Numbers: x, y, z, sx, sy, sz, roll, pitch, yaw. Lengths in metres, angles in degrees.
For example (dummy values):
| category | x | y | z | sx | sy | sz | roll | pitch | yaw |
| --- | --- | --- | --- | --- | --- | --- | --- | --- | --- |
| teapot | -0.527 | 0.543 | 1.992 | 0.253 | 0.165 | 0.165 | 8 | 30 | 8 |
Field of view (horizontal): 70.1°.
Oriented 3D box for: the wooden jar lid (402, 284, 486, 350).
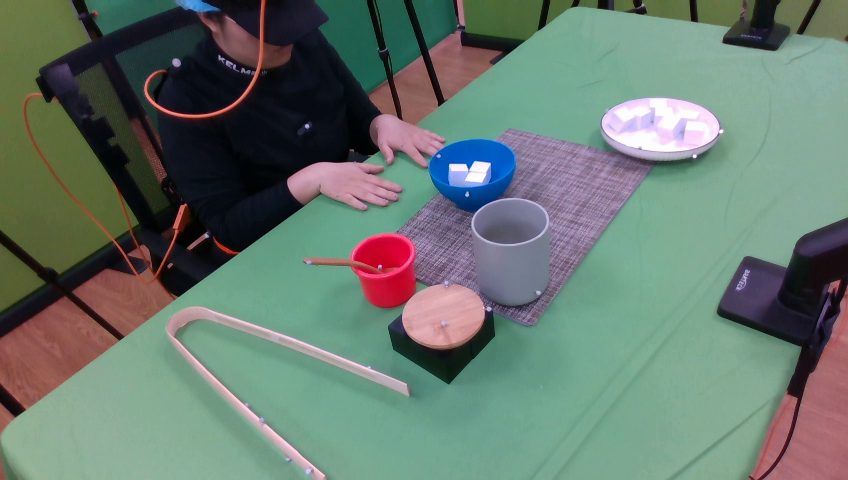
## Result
| category | x | y | z | sx | sy | sz | roll | pitch | yaw |
| --- | --- | --- | --- | --- | --- | --- | --- | --- | --- |
| wooden jar lid | 0.026 | 0.101 | 0.786 | 0.108 | 0.021 | 0.108 | -5 | 39 | 4 |

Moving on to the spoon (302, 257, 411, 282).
| category | x | y | z | sx | sy | sz | roll | pitch | yaw |
| --- | --- | --- | --- | --- | --- | --- | --- | --- | --- |
| spoon | -0.092 | 0.038 | 0.865 | 0.195 | 0.021 | 0.041 | 16 | 15 | -46 |

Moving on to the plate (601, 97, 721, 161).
| category | x | y | z | sx | sy | sz | roll | pitch | yaw |
| --- | --- | --- | --- | --- | --- | --- | --- | --- | --- |
| plate | 0.436 | -0.202 | 1.126 | 0.209 | 0.038 | 0.208 | -5 | 39 | 5 |

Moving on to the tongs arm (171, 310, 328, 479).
| category | x | y | z | sx | sy | sz | roll | pitch | yaw |
| --- | --- | --- | --- | --- | --- | --- | --- | --- | --- |
| tongs arm | -0.236 | 0.192 | 0.794 | 0.381 | 0.026 | 0.051 | 24 | 50 | 35 |

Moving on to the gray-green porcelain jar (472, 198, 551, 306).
| category | x | y | z | sx | sy | sz | roll | pitch | yaw |
| --- | --- | --- | --- | --- | --- | --- | --- | --- | --- |
| gray-green porcelain jar | 0.125 | 0.021 | 0.850 | 0.106 | 0.127 | 0.105 | -6 | 40 | 5 |

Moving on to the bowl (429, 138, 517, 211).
| category | x | y | z | sx | sy | sz | roll | pitch | yaw |
| --- | --- | --- | --- | --- | --- | --- | --- | --- | --- |
| bowl | 0.087 | -0.104 | 1.043 | 0.151 | 0.077 | 0.150 | -6 | 40 | 5 |

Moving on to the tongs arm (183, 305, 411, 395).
| category | x | y | z | sx | sy | sz | roll | pitch | yaw |
| --- | --- | --- | --- | --- | --- | --- | --- | --- | --- |
| tongs arm | -0.187 | 0.149 | 0.842 | 0.385 | 0.028 | 0.028 | 14 | 48 | 26 |
